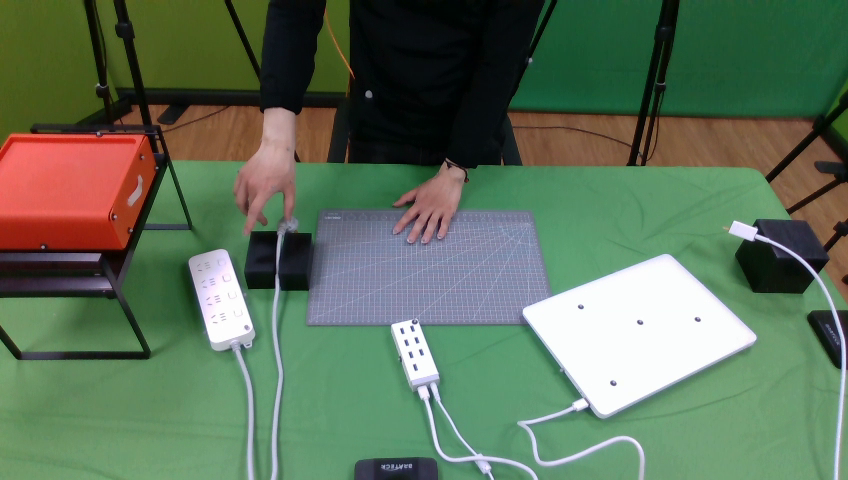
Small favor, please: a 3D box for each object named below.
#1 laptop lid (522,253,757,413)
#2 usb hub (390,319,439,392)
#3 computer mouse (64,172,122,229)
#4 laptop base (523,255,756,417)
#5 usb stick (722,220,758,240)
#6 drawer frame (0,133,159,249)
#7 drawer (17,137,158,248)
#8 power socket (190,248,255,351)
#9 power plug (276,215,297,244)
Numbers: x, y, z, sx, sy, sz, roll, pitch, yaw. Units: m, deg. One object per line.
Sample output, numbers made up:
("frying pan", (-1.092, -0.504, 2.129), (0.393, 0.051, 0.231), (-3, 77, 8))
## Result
("laptop lid", (0.380, 0.147, 1.073), (0.357, 0.013, 0.240), (-17, 48, -19))
("usb hub", (-0.016, 0.190, 1.013), (0.049, 0.025, 0.124), (-11, 48, -15))
("computer mouse", (-0.521, -0.066, 0.955), (0.063, 0.041, 0.116), (0, 48, -9))
("laptop base", (0.381, 0.157, 1.080), (0.355, 0.023, 0.234), (-18, 47, -21))
("usb stick", (0.593, -0.021, 1.139), (0.059, 0.027, 0.021), (22, 12, 29))
("drawer frame", (-0.553, -0.078, 0.942), (0.214, 0.083, 0.200), (-1, 47, -4))
("drawer", (-0.549, -0.079, 0.944), (0.212, 0.073, 0.193), (0, 47, -3))
("power socket", (-0.358, 0.100, 1.069), (0.072, 0.033, 0.225), (-17, 51, -18))
("power plug", (-0.267, -0.016, 1.157), (0.035, 0.053, 0.072), (9, 64, 25))
